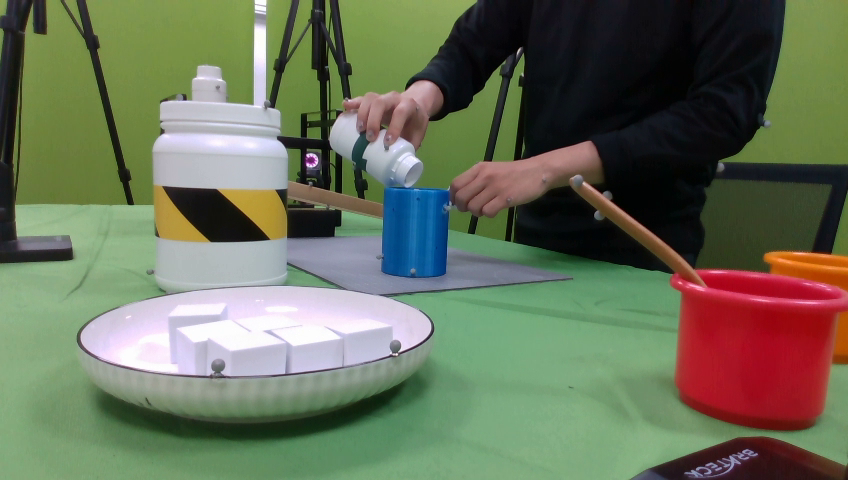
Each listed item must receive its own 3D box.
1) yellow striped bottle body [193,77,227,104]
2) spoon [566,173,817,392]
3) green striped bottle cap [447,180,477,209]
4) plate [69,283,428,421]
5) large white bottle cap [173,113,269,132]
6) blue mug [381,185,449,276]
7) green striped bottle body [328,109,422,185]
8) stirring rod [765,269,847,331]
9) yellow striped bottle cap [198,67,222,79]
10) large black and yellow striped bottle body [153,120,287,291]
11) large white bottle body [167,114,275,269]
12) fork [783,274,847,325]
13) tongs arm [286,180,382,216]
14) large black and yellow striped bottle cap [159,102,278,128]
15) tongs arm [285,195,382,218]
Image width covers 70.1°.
[{"bbox_3d":[-0.414,-0.268,1.169,0.063,0.120,0.063,2,7,0],"label":"yellow striped bottle body"},{"bbox_3d":[0.161,0.024,0.370,0.193,0.021,0.042,47,18,3],"label":"spoon"},{"bbox_3d":[0.053,-0.066,0.865,0.044,0.020,0.044,10,42,-9],"label":"green striped bottle cap"},{"bbox_3d":[-0.102,0.066,0.381,0.208,0.039,0.207,2,7,0],"label":"plate"},{"bbox_3d":[-0.254,-0.146,0.760,0.115,0.018,0.115,1,7,0],"label":"large white bottle cap"},{"bbox_3d":[-0.018,-0.016,0.764,0.083,0.106,0.116,-2,8,-24],"label":"blue mug"},{"bbox_3d":[-0.060,-0.115,0.775,0.119,0.063,0.063,34,20,21],"label":"green striped bottle body"},{"bbox_3d":[0.351,0.020,0.484,0.176,0.006,0.014,-40,-7,12],"label":"stirring rod"},{"bbox_3d":[-0.411,-0.320,1.163,0.044,0.018,0.044,1,6,0],"label":"yellow striped bottle cap"},{"bbox_3d":[-0.208,-0.042,0.626,0.131,0.184,0.130,2,7,0],"label":"large black and yellow striped bottle body"},{"bbox_3d":[-0.257,-0.063,0.771,0.131,0.184,0.130,2,7,0],"label":"large white bottle body"},{"bbox_3d":[0.332,0.018,0.443,0.028,0.018,0.207,-1,-36,-15],"label":"fork"},{"bbox_3d":[-0.122,-0.066,1.147,0.387,0.026,0.050,11,-2,-37],"label":"tongs arm"},{"bbox_3d":[-0.207,-0.125,0.615,0.115,0.019,0.115,2,6,0],"label":"large black and yellow striped bottle cap"},{"bbox_3d":[-0.165,-0.074,1.216,0.389,0.027,0.028,11,-6,-24],"label":"tongs arm"}]
